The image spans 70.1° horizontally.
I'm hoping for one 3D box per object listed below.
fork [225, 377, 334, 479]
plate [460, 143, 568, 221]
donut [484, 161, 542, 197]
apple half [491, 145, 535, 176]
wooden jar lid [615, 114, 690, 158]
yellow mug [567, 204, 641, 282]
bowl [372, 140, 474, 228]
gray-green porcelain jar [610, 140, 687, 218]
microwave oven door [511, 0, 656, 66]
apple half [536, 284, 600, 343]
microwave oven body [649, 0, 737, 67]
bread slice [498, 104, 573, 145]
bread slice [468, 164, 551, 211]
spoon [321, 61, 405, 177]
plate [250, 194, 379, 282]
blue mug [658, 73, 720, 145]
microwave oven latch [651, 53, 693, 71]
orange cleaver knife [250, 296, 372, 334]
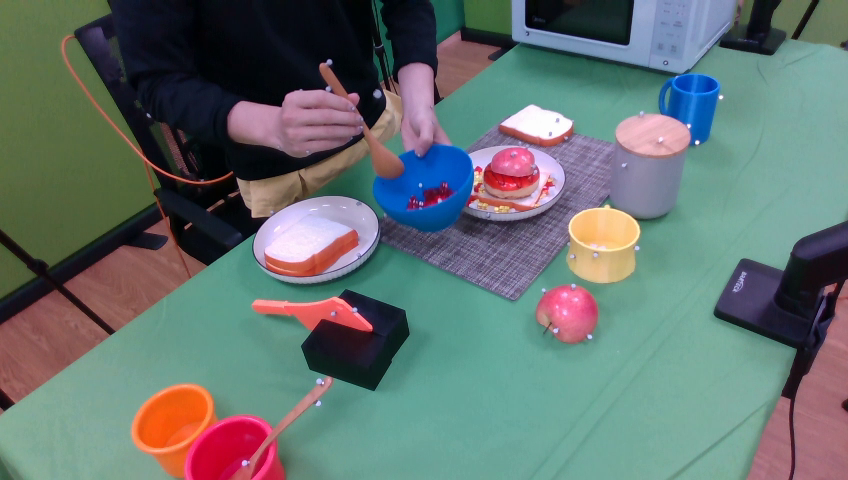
[{"bbox_3d":[-0.163,0.216,0.646,0.207,0.019,0.028,-49,42,16],"label":"fork"},{"bbox_3d":[0.142,-0.097,1.045,0.207,0.039,0.206,-4,40,4],"label":"plate"},{"bbox_3d":[0.149,-0.110,1.016,0.099,0.048,0.098,-4,40,4],"label":"donut"},{"bbox_3d":[0.147,-0.138,0.994,0.081,0.033,0.081,1,38,-1],"label":"apple half"},{"bbox_3d":[0.347,-0.155,0.923,0.108,0.021,0.108,-3,44,4],"label":"wooden jar lid"},{"bbox_3d":[0.268,-0.004,0.905,0.099,0.064,0.130,6,41,16],"label":"yellow mug"},{"bbox_3d":[0.007,-0.070,0.880,0.151,0.077,0.150,-11,42,11],"label":"bowl"},{"bbox_3d":[0.354,-0.106,0.964,0.106,0.127,0.105,-4,41,4],"label":"gray-green porcelain jar"},{"bbox_3d":[0.350,-0.539,1.348,0.353,0.245,0.039,24,50,31],"label":"microwave oven door"},{"bbox_3d":[0.196,0.091,0.815,0.075,0.053,0.080,-22,42,-20],"label":"apple half"},{"bbox_3d":[0.475,-0.602,1.411,0.438,0.261,0.327,23,50,32],"label":"microwave oven body"},{"bbox_3d":[0.231,-0.231,1.205,0.105,0.019,0.130,-36,47,-28],"label":"bread slice"},{"bbox_3d":[0.141,-0.092,1.042,0.133,0.018,0.107,9,44,20],"label":"bread slice"},{"bbox_3d":[-0.079,-0.149,0.779,0.041,0.195,0.021,-22,39,15],"label":"spoon"},{"bbox_3d":[-0.174,0.000,0.984,0.209,0.038,0.208,-3,40,3],"label":"plate"},{"bbox_3d":[0.483,-0.250,1.127,0.082,0.106,0.115,-26,44,-19],"label":"blue mug"},{"bbox_3d":[0.532,-0.386,1.301,0.078,0.029,0.030,27,52,34],"label":"microwave oven latch"},{"bbox_3d":[-0.158,0.103,0.828,0.210,0.078,0.012,-4,43,39],"label":"orange cleaver knife"}]
